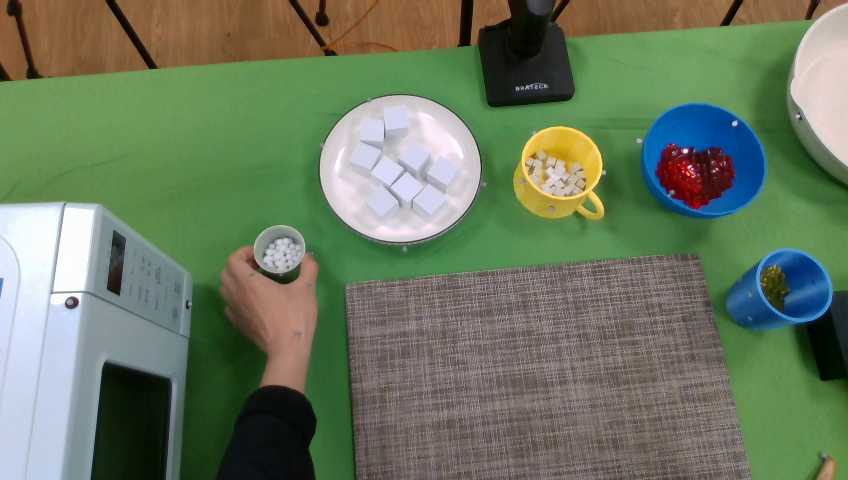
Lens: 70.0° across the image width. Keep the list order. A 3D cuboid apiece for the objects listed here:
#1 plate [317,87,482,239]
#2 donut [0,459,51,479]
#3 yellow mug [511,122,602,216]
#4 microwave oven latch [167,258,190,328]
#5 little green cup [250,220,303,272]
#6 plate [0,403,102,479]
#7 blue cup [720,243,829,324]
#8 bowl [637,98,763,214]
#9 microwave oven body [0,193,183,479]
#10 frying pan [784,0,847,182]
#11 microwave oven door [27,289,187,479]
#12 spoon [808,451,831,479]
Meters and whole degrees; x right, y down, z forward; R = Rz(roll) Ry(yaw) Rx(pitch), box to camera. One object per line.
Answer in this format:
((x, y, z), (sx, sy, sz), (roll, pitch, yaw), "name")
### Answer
((-0.031, -0.097, 0.780), (0.208, 0.039, 0.206), (1, 73, -1), "plate")
((-0.405, 0.262, 0.581), (0.099, 0.048, 0.098), (1, 74, -4), "donut")
((0.176, -0.080, 0.766), (0.100, 0.064, 0.130), (-41, 79, -13), "yellow mug")
((-0.290, 0.062, 0.704), (0.030, 0.029, 0.078), (-1, 74, -2), "microwave oven latch")
((-0.178, 0.010, 0.740), (0.061, 0.039, 0.061), (1, 73, -2), "little green cup")
((-0.417, 0.268, 0.592), (0.209, 0.038, 0.208), (1, 75, -2), "plate")
((0.401, 0.059, 0.712), (0.093, 0.101, 0.092), (1, 71, -2), "blue cup")
((0.335, -0.094, 0.769), (0.151, 0.077, 0.150), (1, 74, -1), "bowl")
((-0.429, 0.206, 0.555), (0.326, 0.261, 0.439), (-2, 74, -3), "microwave oven body")
((0.620, -0.094, 0.764), (0.307, 0.103, 0.484), (0, 65, -1), "frying pan")
((-0.281, 0.241, 0.544), (0.039, 0.245, 0.353), (-2, 73, -2), "microwave oven door")
((0.411, 0.316, 0.676), (0.041, 0.022, 0.193), (35, 75, 21), "spoon")
